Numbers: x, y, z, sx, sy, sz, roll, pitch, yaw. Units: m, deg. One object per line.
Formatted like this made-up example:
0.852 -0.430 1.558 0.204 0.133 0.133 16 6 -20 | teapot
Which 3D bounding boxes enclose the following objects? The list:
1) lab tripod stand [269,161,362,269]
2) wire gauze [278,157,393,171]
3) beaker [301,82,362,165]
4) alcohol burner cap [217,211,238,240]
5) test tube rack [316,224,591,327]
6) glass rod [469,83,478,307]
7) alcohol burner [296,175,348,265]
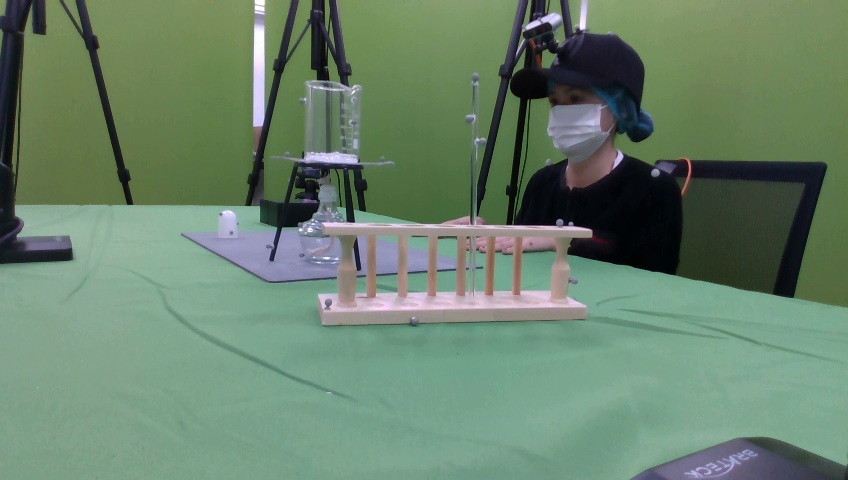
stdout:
-0.125 -0.036 0.794 0.148 0.131 0.148 5 7 0 | lab tripod stand
-0.122 -0.100 0.786 0.122 0.011 0.124 -5 14 -38 | wire gauze
-0.117 -0.147 0.776 0.074 0.100 0.083 -3 10 -38 | beaker
-0.323 -0.024 0.994 0.034 0.048 0.034 2 8 0 | alcohol burner cap
0.026 0.028 0.555 0.243 0.085 0.066 1 7 -14 | test tube rack
0.043 -0.033 0.523 0.008 0.199 0.008 -1 14 1 | glass rod
-0.129 -0.026 0.798 0.078 0.119 0.078 2 9 0 | alcohol burner
